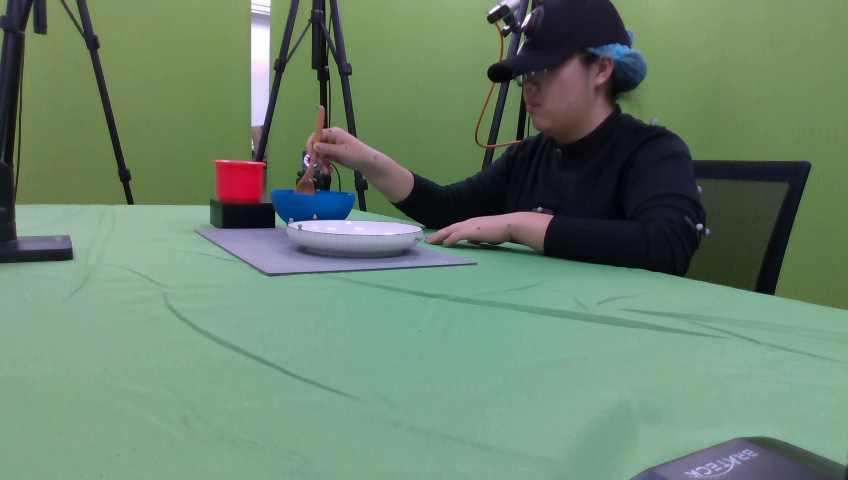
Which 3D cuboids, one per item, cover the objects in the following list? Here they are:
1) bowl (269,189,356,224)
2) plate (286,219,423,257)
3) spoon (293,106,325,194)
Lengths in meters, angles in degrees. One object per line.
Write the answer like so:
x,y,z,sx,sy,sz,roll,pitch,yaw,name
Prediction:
-0.199,-0.049,1.080,0.151,0.077,0.151,3,7,0,bowl
-0.105,-0.004,0.922,0.208,0.039,0.207,3,7,0,plate
-0.203,-0.149,1.105,0.042,0.193,0.021,11,7,-27,spoon
